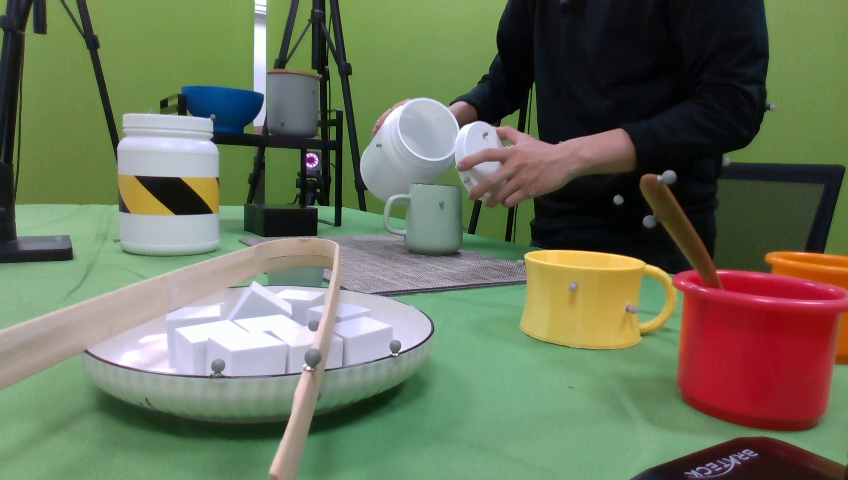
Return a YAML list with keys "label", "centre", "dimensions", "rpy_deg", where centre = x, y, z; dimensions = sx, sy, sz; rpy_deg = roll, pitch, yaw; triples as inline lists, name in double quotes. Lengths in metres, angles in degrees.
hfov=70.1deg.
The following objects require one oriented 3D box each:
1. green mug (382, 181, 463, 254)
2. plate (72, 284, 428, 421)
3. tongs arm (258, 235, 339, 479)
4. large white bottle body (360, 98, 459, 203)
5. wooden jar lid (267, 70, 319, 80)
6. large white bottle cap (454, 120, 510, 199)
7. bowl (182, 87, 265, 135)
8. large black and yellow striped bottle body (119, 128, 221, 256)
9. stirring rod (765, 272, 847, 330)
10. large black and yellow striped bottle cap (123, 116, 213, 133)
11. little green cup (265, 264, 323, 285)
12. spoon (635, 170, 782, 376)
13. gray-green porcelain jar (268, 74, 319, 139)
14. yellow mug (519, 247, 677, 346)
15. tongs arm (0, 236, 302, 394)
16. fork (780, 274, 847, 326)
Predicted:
- label: "green mug"
  centre: [-0.001, -0.036, 0.922]
  dimensions: [0.126, 0.105, 0.092]
  rpy_deg: [0, 8, -16]
- label: "plate"
  centre: [-0.102, 0.067, 0.381]
  dimensions: [0.208, 0.039, 0.207]
  rpy_deg: [3, 7, 0]
- label: "tongs arm"
  centre: [-0.074, 0.040, 0.345]
  dimensions: [0.051, 0.026, 0.384]
  rpy_deg: [-1, 10, -3]
- label: "large white bottle body"
  centre: [-0.025, -0.150, 1.022]
  dimensions: [0.131, 0.130, 0.184]
  rpy_deg: [-1, -15, -22]
- label: "wooden jar lid"
  centre: [-0.275, -0.339, 1.271]
  dimensions: [0.108, 0.020, 0.108]
  rpy_deg: [5, 6, 0]
- label: "large white bottle cap"
  centre: [0.086, -0.116, 0.874]
  dimensions: [0.018, 0.114, 0.115]
  rpy_deg: [-11, -3, 40]
- label: "bowl"
  centre: [-0.383, -0.243, 1.158]
  dimensions: [0.151, 0.077, 0.151]
  rpy_deg: [2, 7, 0]
- label: "large black and yellow striped bottle body"
  centre: [-0.355, -0.076, 0.850]
  dimensions: [0.131, 0.184, 0.130]
  rpy_deg: [2, 8, 0]
- label: "stirring rod"
  centre: [0.352, 0.020, 0.481]
  dimensions: [0.176, 0.006, 0.014]
  rpy_deg: [-40, -8, 17]
- label: "large black and yellow striped bottle cap"
  centre: [-0.353, -0.159, 0.838]
  dimensions: [0.115, 0.019, 0.115]
  rpy_deg: [2, 6, 0]
- label: "little green cup"
  centre: [-0.134, 0.033, 0.628]
  dimensions: [0.061, 0.038, 0.061]
  rpy_deg: [3, 7, 0]
- label: "spoon"
  centre: [0.161, 0.026, 0.346]
  dimensions: [0.041, 0.194, 0.021]
  rpy_deg: [9, 55, 53]
- label: "gray-green porcelain jar"
  centre: [-0.277, -0.279, 1.280]
  dimensions: [0.106, 0.126, 0.106]
  rpy_deg: [2, 8, 0]
- label: "yellow mug"
  centre: [0.148, 0.045, 0.513]
  dimensions: [0.131, 0.064, 0.100]
  rpy_deg: [3, 6, 0]
- label: "tongs arm"
  centre: [-0.157, 0.038, 0.347]
  dimensions: [0.028, 0.028, 0.388]
  rpy_deg: [-3, 8, 11]
- label: "fork"
  centre: [0.332, 0.019, 0.443]
  dimensions: [0.028, 0.018, 0.207]
  rpy_deg: [-3, -35, -16]
